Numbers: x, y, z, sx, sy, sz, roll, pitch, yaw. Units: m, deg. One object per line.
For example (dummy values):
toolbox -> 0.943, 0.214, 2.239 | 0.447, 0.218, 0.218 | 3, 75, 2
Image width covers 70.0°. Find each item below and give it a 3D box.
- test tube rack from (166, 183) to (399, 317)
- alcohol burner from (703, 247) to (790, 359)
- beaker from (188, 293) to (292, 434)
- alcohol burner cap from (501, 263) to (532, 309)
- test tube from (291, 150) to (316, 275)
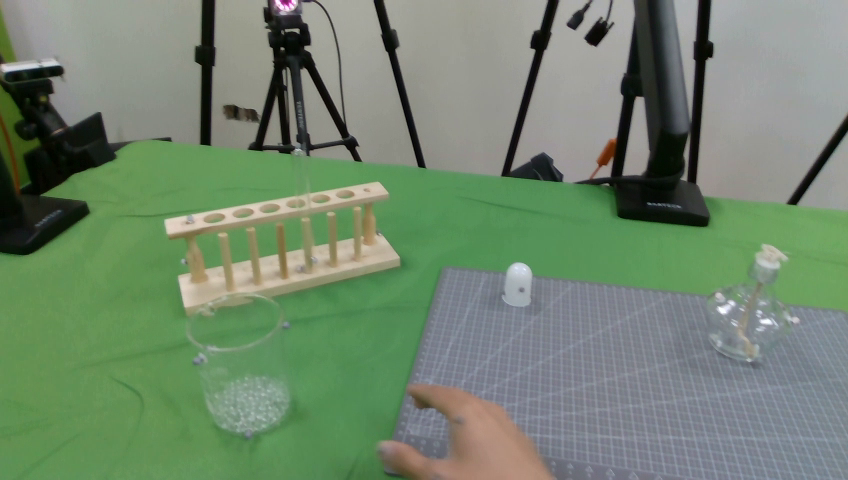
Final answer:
test tube rack -> -0.153, 0.006, 0.688 | 0.243, 0.086, 0.066 | -13, 34, -21
alcohol burner -> 0.316, 0.056, 0.585 | 0.078, 0.120, 0.077 | 2, 32, -1
beaker -> -0.153, 0.105, 0.511 | 0.083, 0.101, 0.074 | 24, 38, 33
alcohol burner cap -> 0.102, 0.048, 0.662 | 0.034, 0.048, 0.033 | 1, 31, 0
test tube -> -0.129, -0.027, 0.655 | 0.017, 0.151, 0.017 | 2, 32, -1
